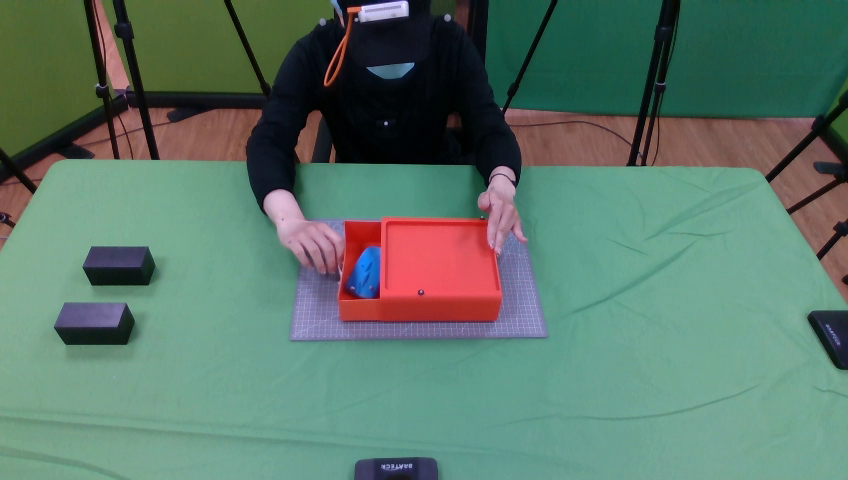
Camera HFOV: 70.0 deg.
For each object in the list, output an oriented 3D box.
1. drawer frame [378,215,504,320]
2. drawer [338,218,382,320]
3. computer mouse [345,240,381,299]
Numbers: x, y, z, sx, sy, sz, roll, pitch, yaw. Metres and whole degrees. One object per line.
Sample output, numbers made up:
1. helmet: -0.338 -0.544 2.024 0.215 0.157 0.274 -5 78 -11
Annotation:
1. drawer frame: 0.024 0.048 1.103 0.214 0.083 0.200 0 46 -4
2. drawer: -0.047 0.050 1.100 0.212 0.073 0.193 1 45 -4
3. computer mouse: -0.094 0.050 1.107 0.063 0.041 0.117 24 59 7
